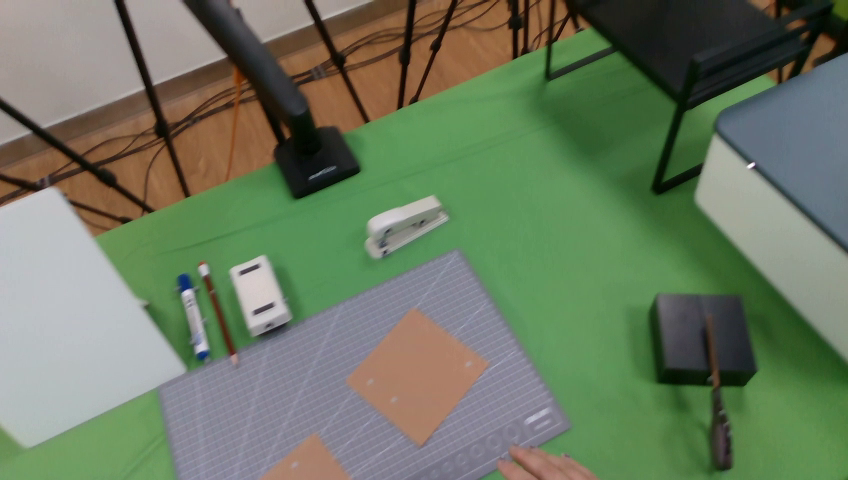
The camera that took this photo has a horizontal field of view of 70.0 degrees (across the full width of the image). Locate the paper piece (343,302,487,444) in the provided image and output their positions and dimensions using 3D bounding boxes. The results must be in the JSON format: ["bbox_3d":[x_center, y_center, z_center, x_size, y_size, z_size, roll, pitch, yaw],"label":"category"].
[{"bbox_3d":[-0.013,0.166,0.779,0.137,0.009,0.136,35,70,24],"label":"paper piece"}]

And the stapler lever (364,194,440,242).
[{"bbox_3d":[-0.033,-0.036,0.886,0.118,0.040,0.026,-30,60,-14],"label":"stapler lever"}]

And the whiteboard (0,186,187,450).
[{"bbox_3d":[-0.474,0.073,0.757,0.217,0.308,0.142,-25,37,-10],"label":"whiteboard"}]

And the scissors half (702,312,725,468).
[{"bbox_3d":[0.328,0.170,0.697,0.013,0.040,0.174,0,75,6],"label":"scissors half"}]

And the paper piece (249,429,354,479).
[{"bbox_3d":[-0.145,0.309,0.696,0.135,0.004,0.134,-38,60,-19],"label":"paper piece"}]

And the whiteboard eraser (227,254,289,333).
[{"bbox_3d":[-0.233,0.076,0.851,0.055,0.042,0.111,-26,57,-10],"label":"whiteboard eraser"}]

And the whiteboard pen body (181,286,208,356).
[{"bbox_3d":[-0.328,0.105,0.856,0.017,0.017,0.139,-24,56,-10],"label":"whiteboard pen body"}]

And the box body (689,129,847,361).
[{"bbox_3d":[0.551,-0.034,0.758,0.254,0.162,0.360,-25,56,-10],"label":"box body"}]

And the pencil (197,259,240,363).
[{"bbox_3d":[-0.292,0.098,0.860,0.012,0.012,0.192,-27,57,-12],"label":"pencil"}]

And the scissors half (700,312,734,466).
[{"bbox_3d":[0.325,0.161,0.679,0.013,0.040,0.173,-3,58,10],"label":"scissors half"}]

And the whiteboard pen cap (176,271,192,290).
[{"bbox_3d":[-0.351,0.062,0.887,0.018,0.018,0.033,-26,55,-11],"label":"whiteboard pen cap"}]

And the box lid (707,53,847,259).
[{"bbox_3d":[0.543,-0.077,0.698,0.263,0.015,0.367,-24,56,-11],"label":"box lid"}]

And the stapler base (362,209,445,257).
[{"bbox_3d":[-0.032,-0.021,0.905,0.130,0.024,0.041,-29,60,-15],"label":"stapler base"}]
